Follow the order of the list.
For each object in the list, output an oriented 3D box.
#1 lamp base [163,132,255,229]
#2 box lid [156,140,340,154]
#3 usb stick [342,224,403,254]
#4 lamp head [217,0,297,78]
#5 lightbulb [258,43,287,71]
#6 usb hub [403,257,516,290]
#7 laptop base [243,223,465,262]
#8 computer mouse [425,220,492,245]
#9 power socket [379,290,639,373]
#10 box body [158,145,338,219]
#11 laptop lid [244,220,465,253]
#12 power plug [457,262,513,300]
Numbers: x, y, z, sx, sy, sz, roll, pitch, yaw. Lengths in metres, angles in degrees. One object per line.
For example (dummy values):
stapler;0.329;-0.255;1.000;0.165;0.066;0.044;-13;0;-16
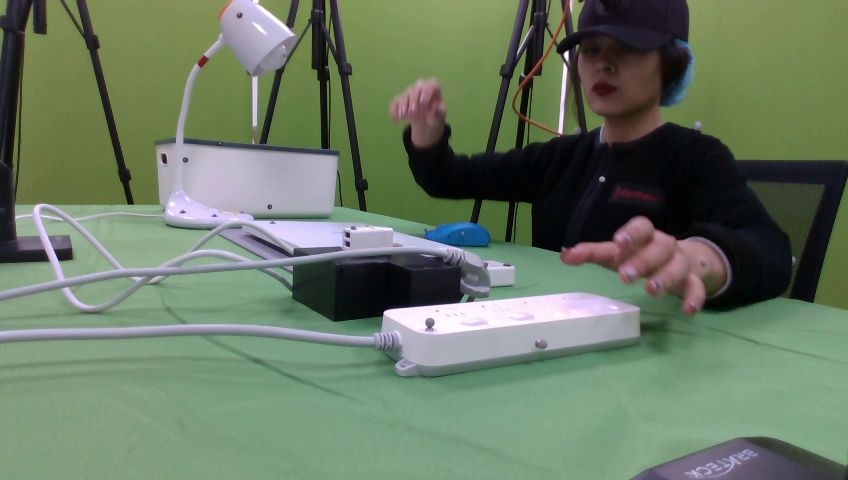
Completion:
lamp base;-0.420;-0.116;1.156;0.179;0.180;0.160;0;7;0
box lid;-0.409;-0.213;1.404;0.373;0.015;0.262;-2;8;-32
usb stick;-0.047;-0.002;0.567;0.059;0.027;0.021;0;6;-32
lamp head;-0.315;-0.372;1.102;0.123;0.112;0.112;41;3;-9
lightbulb;-0.295;-0.358;1.102;0.059;0.107;0.059;-38;1;1
usb hub;0.042;0.038;0.690;0.126;0.025;0.049;-3;10;-29
laptop base;-0.126;0.002;0.946;0.237;0.023;0.352;2;6;-31
computer mouse;0.060;-0.013;1.059;0.117;0.041;0.062;-2;9;-5
power socket;0.070;0.064;0.461;0.228;0.032;0.072;-2;7;-31
box body;-0.410;-0.139;1.414;0.366;0.160;0.253;-3;8;-33
laptop lid;-0.124;-0.009;0.945;0.243;0.013;0.355;1;7;-29
power plug;0.052;0.050;0.543;0.035;0.052;0.072;5;37;-20
